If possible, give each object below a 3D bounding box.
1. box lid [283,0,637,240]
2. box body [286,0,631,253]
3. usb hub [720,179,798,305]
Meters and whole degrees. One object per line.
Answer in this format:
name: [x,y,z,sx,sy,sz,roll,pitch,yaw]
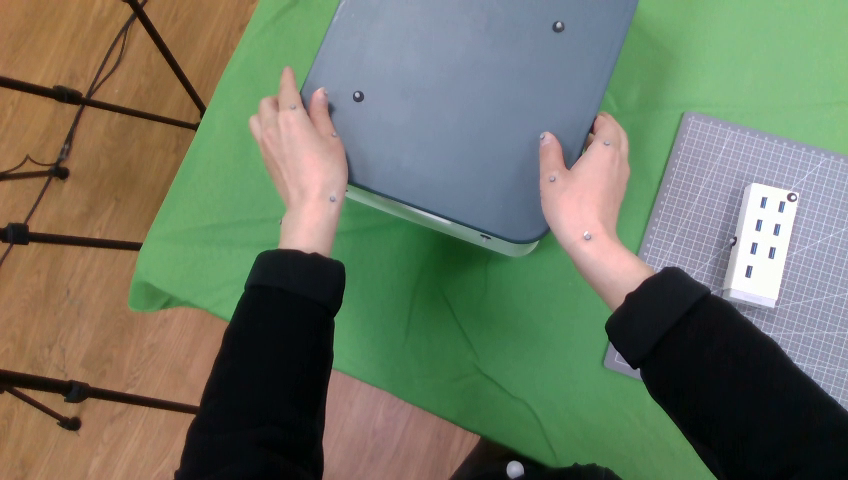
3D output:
box lid: [0.047,-0.203,0.557,0.262,0.015,0.370,20,83,10]
box body: [0.057,-0.191,0.629,0.253,0.161,0.363,20,83,9]
usb hub: [0.350,0.002,0.633,0.049,0.025,0.125,15,84,9]
